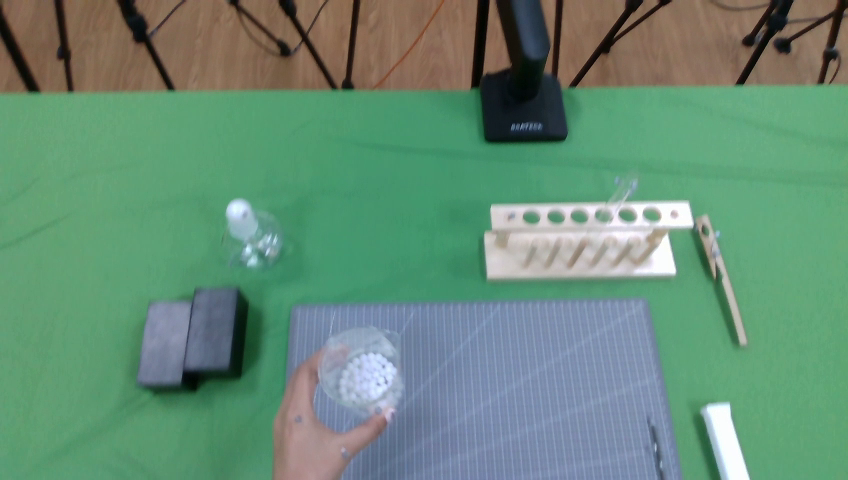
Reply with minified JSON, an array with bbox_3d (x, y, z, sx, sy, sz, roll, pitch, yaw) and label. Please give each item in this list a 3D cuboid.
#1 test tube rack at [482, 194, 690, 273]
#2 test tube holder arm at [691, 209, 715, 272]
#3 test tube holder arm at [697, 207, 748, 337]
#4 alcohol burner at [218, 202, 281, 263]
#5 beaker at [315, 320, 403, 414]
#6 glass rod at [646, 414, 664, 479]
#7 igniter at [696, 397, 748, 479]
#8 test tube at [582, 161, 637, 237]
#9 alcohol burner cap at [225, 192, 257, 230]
[{"bbox_3d":[0.199,-0.007,0.762,0.242,0.086,0.066,-1,65,-2],"label":"test tube rack"},{"bbox_3d":[0.372,0.000,0.802,0.010,0.015,0.087,-22,63,27],"label":"test tube holder arm"},{"bbox_3d":[0.383,0.038,0.781,0.013,0.015,0.177,-23,63,27],"label":"test tube holder arm"},{"bbox_3d":[-0.217,-0.020,0.741,0.078,0.120,0.077,0,63,1],"label":"alcohol burner"},{"bbox_3d":[-0.056,0.125,0.587,0.084,0.101,0.073,-39,70,-15],"label":"beaker"},{"bbox_3d":[0.265,0.292,0.665,0.008,0.008,0.198,-1,65,-2],"label":"glass rod"},{"bbox_3d":[0.347,0.310,0.652,0.057,0.025,0.274,0,65,-12],"label":"igniter"},{"bbox_3d":[0.219,-0.045,0.726,0.017,0.151,0.017,3,61,-5],"label":"test tube"},{"bbox_3d":[-0.216,-0.037,0.709,0.034,0.048,0.033,3,59,-5],"label":"alcohol burner cap"}]
